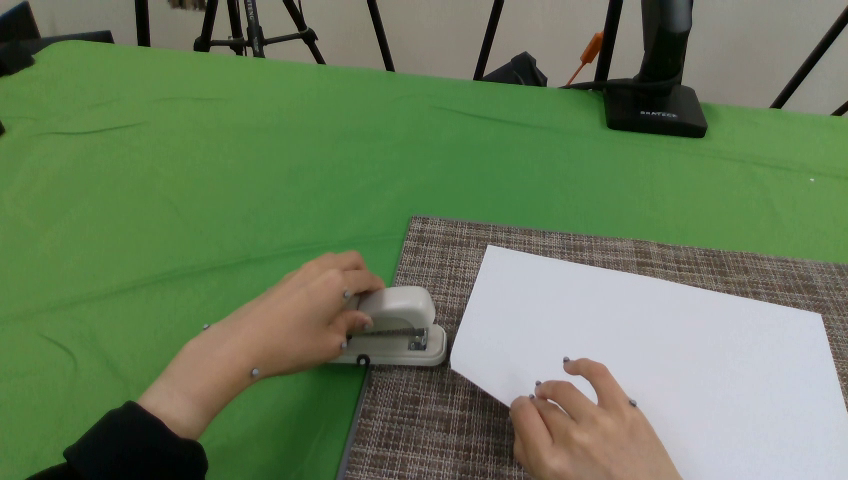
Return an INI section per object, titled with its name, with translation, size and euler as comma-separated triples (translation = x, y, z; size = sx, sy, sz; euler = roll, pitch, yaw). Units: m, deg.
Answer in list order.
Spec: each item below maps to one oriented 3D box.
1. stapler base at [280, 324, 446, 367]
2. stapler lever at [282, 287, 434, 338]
[stapler base]
translation = -0.048, 0.076, 0.481
size = 0.130, 0.024, 0.041
euler = 1, 37, 5
[stapler lever]
translation = -0.051, 0.056, 0.465
size = 0.118, 0.040, 0.026
euler = 0, 37, 5
